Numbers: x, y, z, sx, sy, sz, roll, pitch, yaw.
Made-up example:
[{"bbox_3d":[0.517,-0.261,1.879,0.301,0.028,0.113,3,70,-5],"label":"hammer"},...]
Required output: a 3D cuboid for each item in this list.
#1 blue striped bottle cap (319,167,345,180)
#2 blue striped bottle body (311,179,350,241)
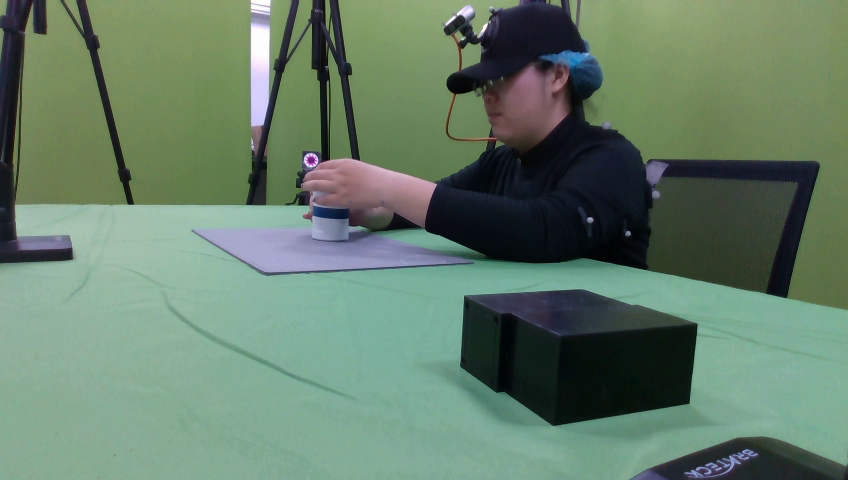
[{"bbox_3d":[-0.154,-0.112,1.016,0.044,0.020,0.044,1,9,0],"label":"blue striped bottle cap"},{"bbox_3d":[-0.157,-0.061,1.021,0.063,0.120,0.063,3,4,0],"label":"blue striped bottle body"}]
